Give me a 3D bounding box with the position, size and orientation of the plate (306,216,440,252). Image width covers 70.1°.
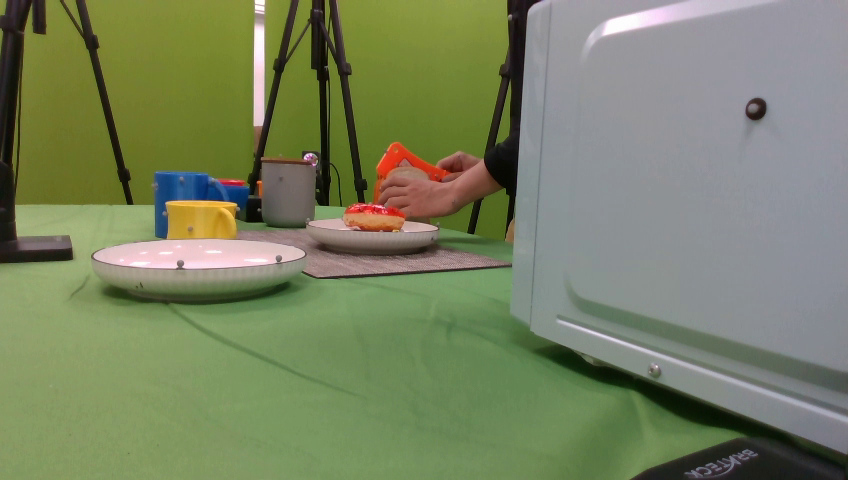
[{"bbox_3d":[-0.079,-0.011,0.950,0.209,0.038,0.209,2,8,0],"label":"plate"}]

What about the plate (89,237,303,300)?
[{"bbox_3d":[-0.233,0.029,0.637,0.208,0.039,0.207,2,7,0],"label":"plate"}]

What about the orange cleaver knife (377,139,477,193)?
[{"bbox_3d":[0.008,-0.126,1.145,0.212,0.077,0.012,18,0,-31],"label":"orange cleaver knife"}]

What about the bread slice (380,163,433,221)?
[{"bbox_3d":[-0.035,-0.075,1.119,0.107,0.134,0.018,-5,14,-27],"label":"bread slice"}]

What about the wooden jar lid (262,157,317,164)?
[{"bbox_3d":[-0.269,-0.154,1.208,0.108,0.020,0.108,3,4,0],"label":"wooden jar lid"}]

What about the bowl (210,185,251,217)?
[{"bbox_3d":[-0.408,-0.064,1.155,0.151,0.077,0.151,2,8,0],"label":"bowl"}]

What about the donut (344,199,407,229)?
[{"bbox_3d":[-0.076,-0.039,0.949,0.099,0.048,0.099,2,4,0],"label":"donut"}]

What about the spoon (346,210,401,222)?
[{"bbox_3d":[-0.121,-0.060,1.400,0.042,0.021,0.192,-28,25,-37],"label":"spoon"}]

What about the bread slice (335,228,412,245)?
[{"bbox_3d":[-0.074,-0.006,0.938,0.105,0.019,0.131,-2,5,-19],"label":"bread slice"}]

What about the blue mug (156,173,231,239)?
[{"bbox_3d":[-0.381,-0.057,1.004,0.117,0.106,0.082,0,8,-12],"label":"blue mug"}]

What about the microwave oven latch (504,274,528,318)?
[{"bbox_3d":[0.100,0.041,0.471,0.079,0.029,0.030,-1,8,-28],"label":"microwave oven latch"}]

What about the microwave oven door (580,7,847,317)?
[{"bbox_3d":[0.295,-0.067,0.570,0.358,0.243,0.039,-3,8,-31],"label":"microwave oven door"}]

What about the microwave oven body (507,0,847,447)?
[{"bbox_3d":[0.331,-0.042,0.425,0.444,0.260,0.324,-2,8,-31],"label":"microwave oven body"}]

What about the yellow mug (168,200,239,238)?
[{"bbox_3d":[-0.319,-0.023,0.904,0.130,0.064,0.100,9,11,36],"label":"yellow mug"}]

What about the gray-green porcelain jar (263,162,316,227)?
[{"bbox_3d":[-0.271,-0.092,1.217,0.106,0.126,0.106,2,7,0],"label":"gray-green porcelain jar"}]

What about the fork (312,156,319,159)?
[{"bbox_3d":[-0.331,-0.144,1.506,0.207,0.018,0.028,-42,-21,22],"label":"fork"}]
